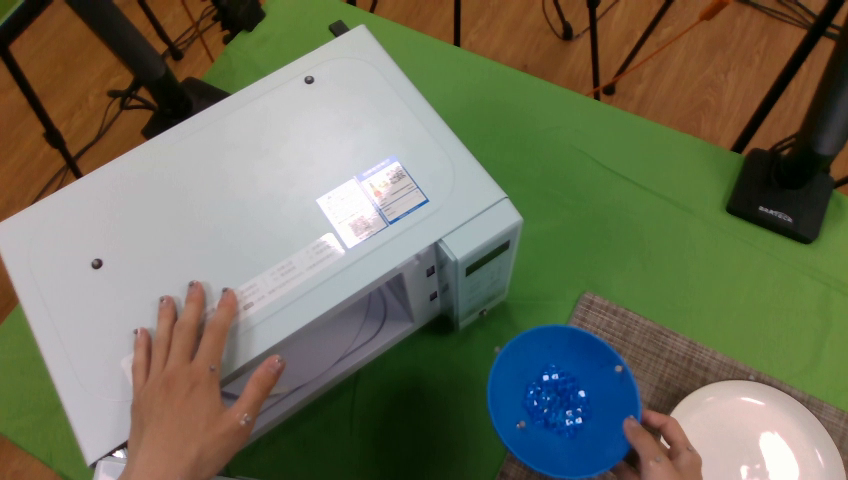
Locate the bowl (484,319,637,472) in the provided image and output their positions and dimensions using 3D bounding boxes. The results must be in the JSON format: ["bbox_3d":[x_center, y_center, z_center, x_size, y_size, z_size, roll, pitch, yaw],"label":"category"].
[{"bbox_3d":[0.132,0.164,0.624,0.151,0.077,0.150,1,64,-1],"label":"bowl"}]

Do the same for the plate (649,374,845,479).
[{"bbox_3d":[0.360,0.259,0.689,0.207,0.039,0.206,-1,67,2],"label":"plate"}]

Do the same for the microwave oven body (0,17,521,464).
[{"bbox_3d":[-0.166,0.017,0.700,0.442,0.262,0.323,-33,69,-10],"label":"microwave oven body"}]

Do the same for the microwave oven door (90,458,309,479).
[{"bbox_3d":[-0.093,0.255,0.587,0.355,0.245,0.039,7,67,6],"label":"microwave oven door"}]

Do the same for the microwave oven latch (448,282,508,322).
[{"bbox_3d":[0.069,0.070,0.770,0.079,0.030,0.030,-31,69,-9],"label":"microwave oven latch"}]
